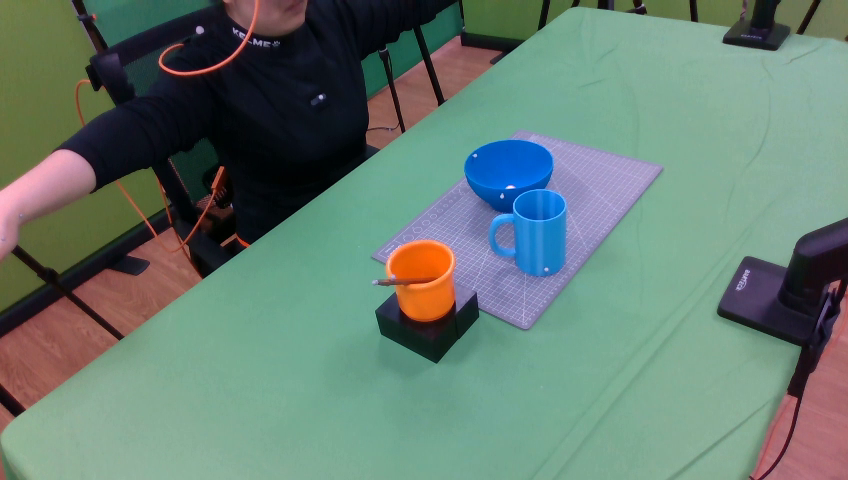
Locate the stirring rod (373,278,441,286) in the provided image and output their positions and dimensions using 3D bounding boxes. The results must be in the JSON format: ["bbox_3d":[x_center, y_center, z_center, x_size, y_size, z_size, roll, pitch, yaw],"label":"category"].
[{"bbox_3d":[-0.018,0.051,0.757,0.014,0.006,0.177,10,2,24],"label":"stirring rod"}]

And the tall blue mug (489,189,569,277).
[{"bbox_3d":[0.158,-0.005,0.886,0.107,0.108,0.077,-23,43,-16],"label":"tall blue mug"}]

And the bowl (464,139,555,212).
[{"bbox_3d":[0.145,-0.100,1.025,0.151,0.077,0.150,-5,40,5],"label":"bowl"}]
